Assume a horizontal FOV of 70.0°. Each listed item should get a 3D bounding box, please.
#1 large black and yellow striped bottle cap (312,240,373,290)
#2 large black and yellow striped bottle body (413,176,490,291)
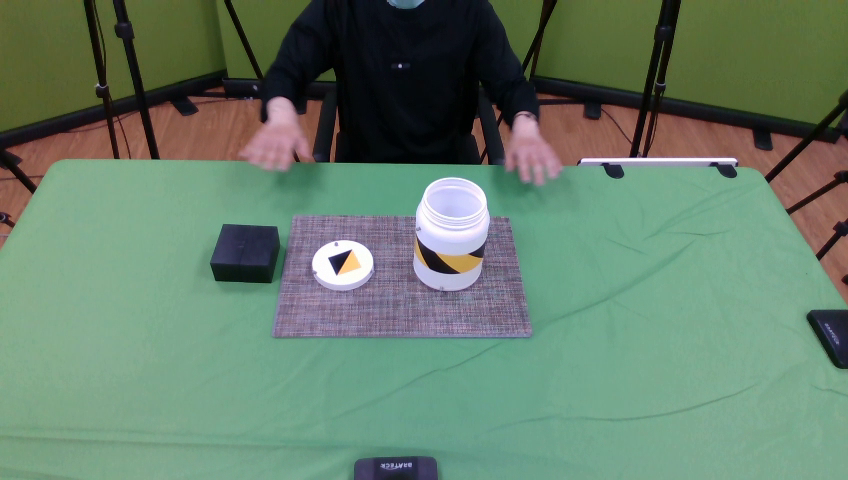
[{"bbox_3d":[-0.153,0.046,1.140,0.115,0.019,0.114,3,47,-3],"label":"large black and yellow striped bottle cap"},{"bbox_3d":[0.049,-0.011,1.091,0.131,0.185,0.130,2,46,-2],"label":"large black and yellow striped bottle body"}]
